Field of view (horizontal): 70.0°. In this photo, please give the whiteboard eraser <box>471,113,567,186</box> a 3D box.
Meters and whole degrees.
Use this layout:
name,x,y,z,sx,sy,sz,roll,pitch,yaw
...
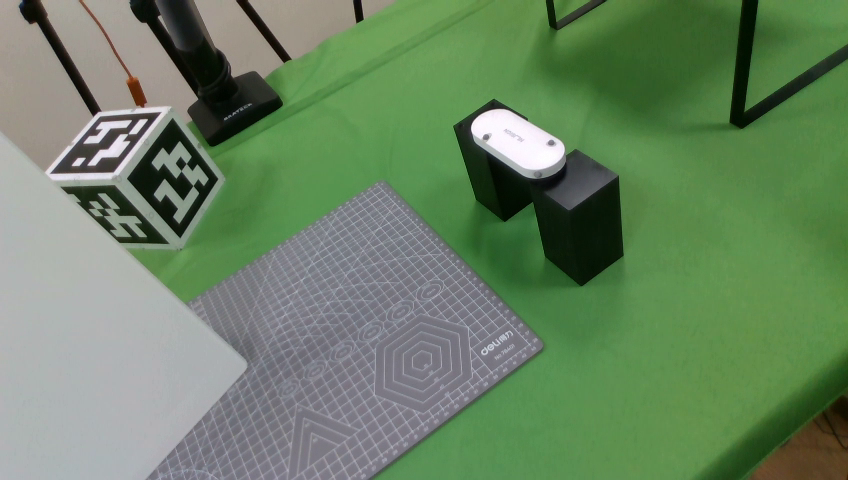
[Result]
name,x,y,z,sx,sy,sz,roll,pitch,yaw
whiteboard eraser,0.079,-0.080,0.517,0.041,0.019,0.100,-35,47,-13

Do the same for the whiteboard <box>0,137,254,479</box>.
name,x,y,z,sx,sy,sz,roll,pitch,yaw
whiteboard,-0.344,0.087,0.512,0.143,0.308,0.216,9,52,52
